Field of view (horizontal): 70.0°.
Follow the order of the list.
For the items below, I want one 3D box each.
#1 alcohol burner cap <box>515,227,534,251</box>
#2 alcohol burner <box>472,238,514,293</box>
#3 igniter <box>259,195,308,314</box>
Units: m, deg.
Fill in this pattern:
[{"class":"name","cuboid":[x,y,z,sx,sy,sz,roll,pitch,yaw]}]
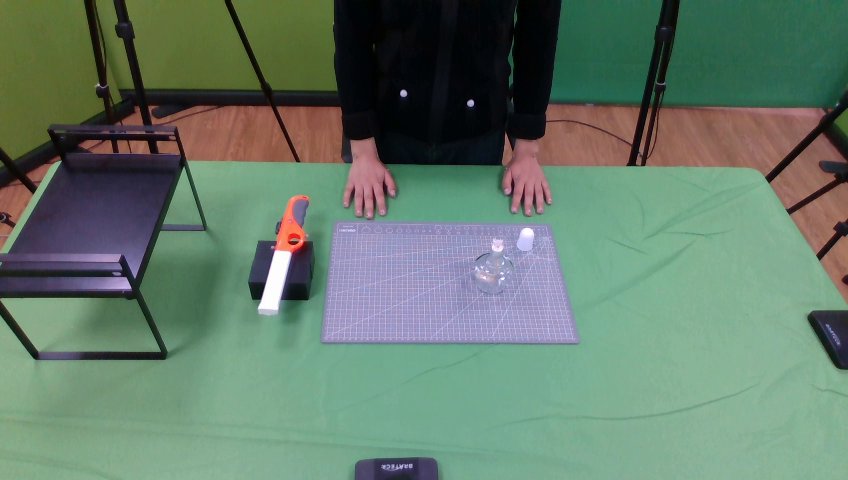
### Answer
[{"class":"alcohol burner cap","cuboid":[0.202,-0.005,1.201,0.034,0.048,0.033,3,46,-3]},{"class":"alcohol burner","cuboid":[0.128,0.041,1.102,0.078,0.120,0.077,1,47,-1]},{"class":"igniter","cuboid":[-0.252,0.016,1.094,0.057,0.025,0.275,6,48,-3]}]
